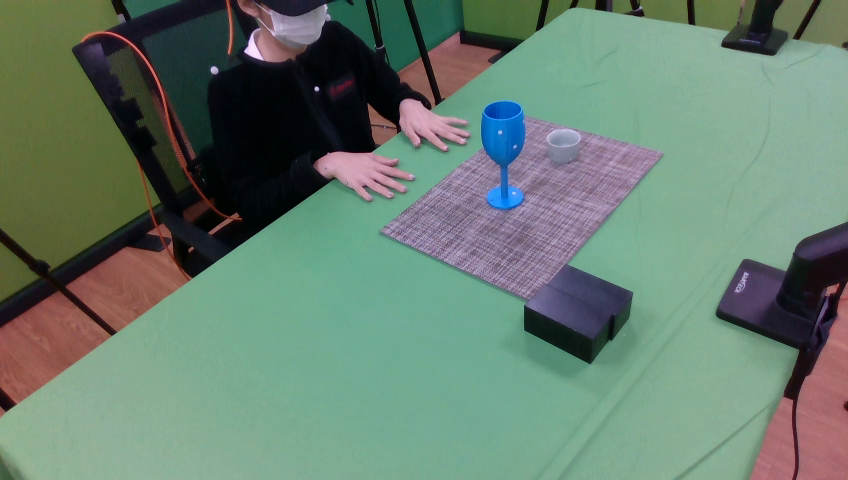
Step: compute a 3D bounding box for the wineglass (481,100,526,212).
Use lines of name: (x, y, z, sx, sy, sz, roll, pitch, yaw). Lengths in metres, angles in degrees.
wineglass: (0.132, -0.137, 0.993, 0.074, 0.173, 0.073, -5, 40, 4)

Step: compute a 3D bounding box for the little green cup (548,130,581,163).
little green cup: (0.259, -0.173, 1.120, 0.061, 0.039, 0.061, -4, 40, 4)
